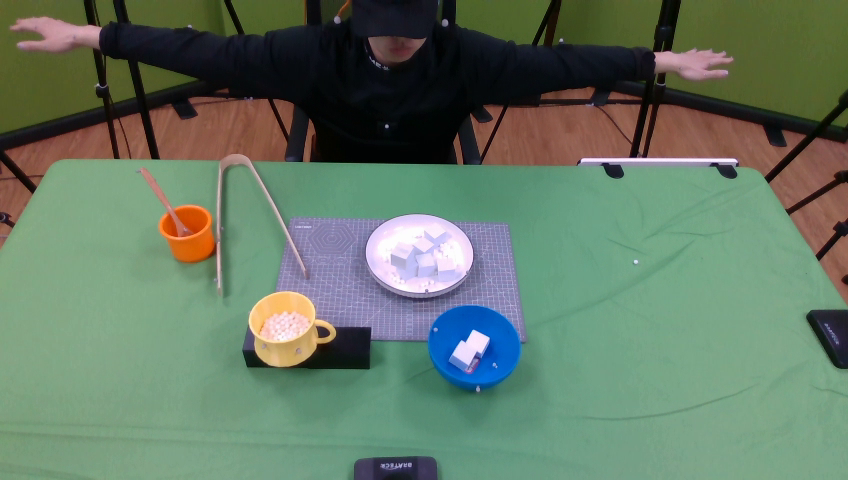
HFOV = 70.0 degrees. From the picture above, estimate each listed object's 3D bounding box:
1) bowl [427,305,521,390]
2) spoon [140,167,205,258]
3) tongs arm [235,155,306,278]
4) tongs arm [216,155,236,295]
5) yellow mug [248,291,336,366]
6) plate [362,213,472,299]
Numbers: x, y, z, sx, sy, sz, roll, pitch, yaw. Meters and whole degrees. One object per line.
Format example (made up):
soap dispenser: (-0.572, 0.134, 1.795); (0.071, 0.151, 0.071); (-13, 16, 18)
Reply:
bowl: (0.076, 0.188, 0.985); (0.151, 0.077, 0.150); (3, 46, -3)
spoon: (-0.467, -0.051, 1.122); (0.041, 0.194, 0.021); (-34, 13, -28)
tongs arm: (-0.312, -0.058, 1.225); (0.028, 0.028, 0.385); (-22, 50, -19)
tongs arm: (-0.389, -0.043, 1.201); (0.051, 0.026, 0.382); (-9, 46, -12)
yellow mug: (-0.203, 0.139, 0.948); (0.131, 0.064, 0.099); (5, 46, 0)
plate: (-0.014, 0.034, 1.149); (0.208, 0.039, 0.206); (3, 46, -2)
